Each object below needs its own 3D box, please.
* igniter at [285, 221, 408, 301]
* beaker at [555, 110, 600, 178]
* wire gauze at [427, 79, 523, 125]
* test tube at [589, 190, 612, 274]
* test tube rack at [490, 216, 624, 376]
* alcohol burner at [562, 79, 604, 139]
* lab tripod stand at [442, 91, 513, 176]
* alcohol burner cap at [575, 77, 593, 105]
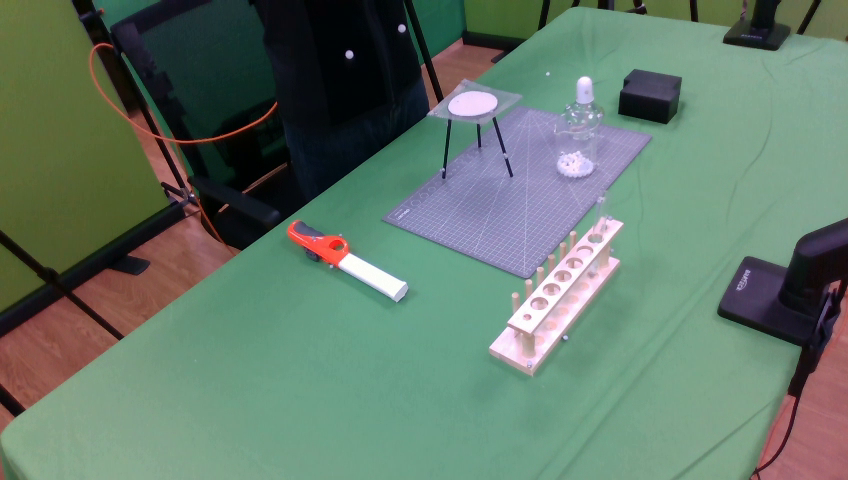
[{"bbox_3d":[-0.133,0.028,0.969,0.274,0.025,0.057,26,61,35],"label":"igniter"},{"bbox_3d":[0.266,-0.165,1.062,0.084,0.101,0.073,-24,42,-15],"label":"beaker"},{"bbox_3d":[0.088,-0.239,1.050,0.120,0.011,0.125,22,50,30],"label":"wire gauze"},{"bbox_3d":[0.238,-0.006,0.817,0.017,0.151,0.017,-4,45,4],"label":"test tube"},{"bbox_3d":[0.184,0.064,0.822,0.066,0.085,0.243,24,50,33],"label":"test tube rack"},{"bbox_3d":[0.303,-0.253,1.147,0.078,0.119,0.077,-4,41,4],"label":"alcohol burner"},{"bbox_3d":[0.096,-0.190,1.096,0.148,0.132,0.147,-4,40,4],"label":"lab tripod stand"},{"bbox_3d":[0.297,-0.279,1.123,0.034,0.048,0.033,-8,41,8],"label":"alcohol burner cap"}]
